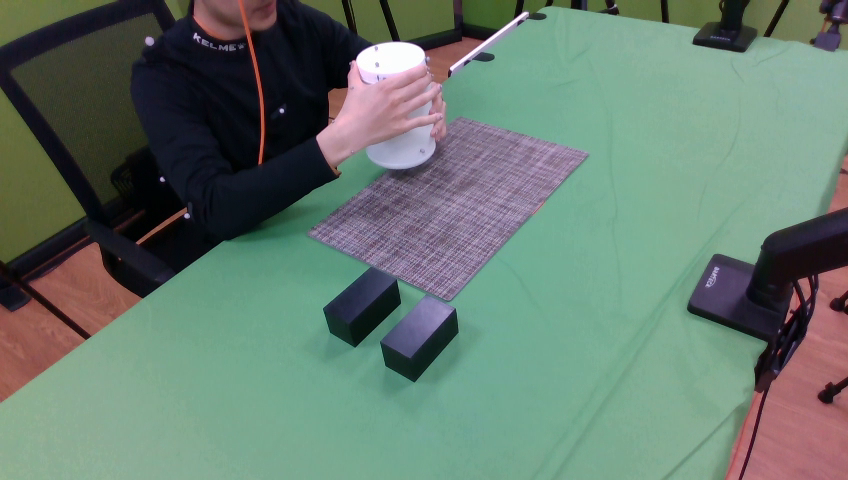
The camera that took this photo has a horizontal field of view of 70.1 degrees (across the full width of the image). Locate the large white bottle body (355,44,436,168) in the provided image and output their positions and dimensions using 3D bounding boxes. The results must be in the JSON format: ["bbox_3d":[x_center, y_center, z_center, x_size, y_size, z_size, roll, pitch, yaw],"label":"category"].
[{"bbox_3d":[-0.049,-0.234,1.059,0.130,0.185,0.130,-3,42,3],"label":"large white bottle body"}]

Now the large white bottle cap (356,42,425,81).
[{"bbox_3d":[-0.056,-0.297,1.004,0.115,0.018,0.114,-2,41,3],"label":"large white bottle cap"}]
